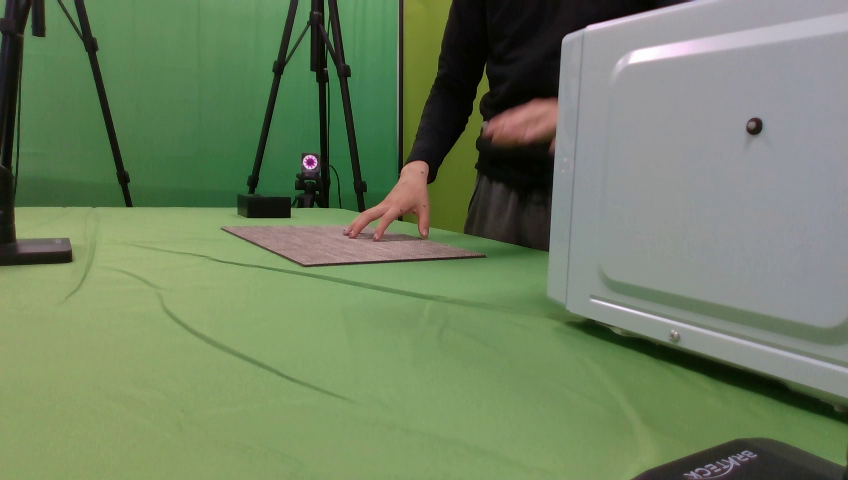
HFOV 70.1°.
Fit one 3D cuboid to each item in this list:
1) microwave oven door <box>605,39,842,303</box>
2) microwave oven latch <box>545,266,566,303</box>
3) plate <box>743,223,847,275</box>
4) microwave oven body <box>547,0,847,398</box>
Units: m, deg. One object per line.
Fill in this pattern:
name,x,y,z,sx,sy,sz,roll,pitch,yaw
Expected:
microwave oven door,0.341,-0.070,0.654,0.358,0.243,0.039,-3,9,-31
microwave oven latch,0.148,0.039,0.555,0.079,0.029,0.030,-2,7,-29
plate,0.407,0.008,0.553,0.209,0.038,0.209,1,5,0
microwave oven body,0.378,-0.045,0.509,0.444,0.260,0.324,-2,8,-31
